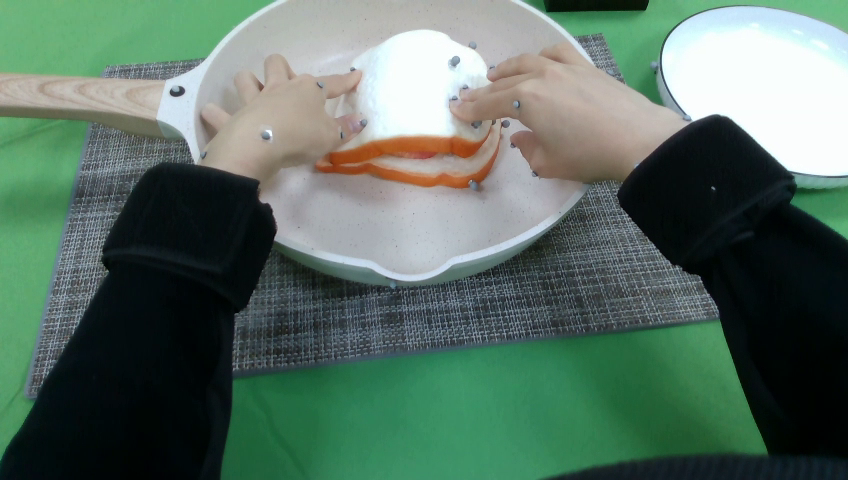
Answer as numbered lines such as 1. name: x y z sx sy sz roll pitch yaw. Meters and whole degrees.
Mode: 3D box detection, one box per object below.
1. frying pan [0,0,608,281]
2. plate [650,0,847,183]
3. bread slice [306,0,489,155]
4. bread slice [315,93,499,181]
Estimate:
1. frying pan: -0.121 -0.095 0.430 0.489 0.103 0.303 3 55 -9
2. plate: 0.292 -0.124 0.509 0.208 0.039 0.205 1 56 -1
3. bread slice: -0.011 -0.121 0.443 0.132 0.019 0.104 15 74 -22
4. bread slice: -0.008 -0.091 0.481 0.134 0.018 0.106 7 57 5
